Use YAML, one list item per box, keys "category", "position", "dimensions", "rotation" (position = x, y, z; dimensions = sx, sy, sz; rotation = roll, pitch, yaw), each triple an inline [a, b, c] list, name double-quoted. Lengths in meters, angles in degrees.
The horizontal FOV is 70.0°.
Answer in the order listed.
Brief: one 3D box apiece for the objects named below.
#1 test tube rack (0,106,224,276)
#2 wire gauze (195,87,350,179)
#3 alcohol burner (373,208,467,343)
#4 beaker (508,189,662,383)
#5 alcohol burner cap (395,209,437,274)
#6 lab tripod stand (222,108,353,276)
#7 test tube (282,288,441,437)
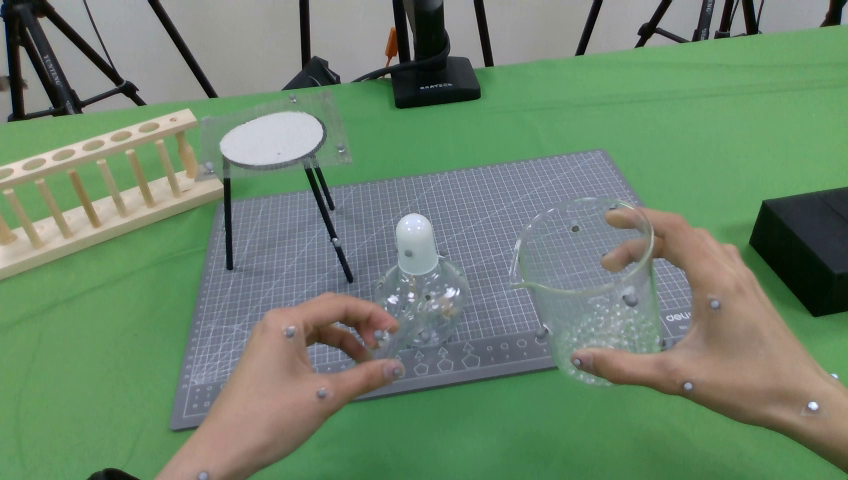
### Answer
- category: "test tube rack"
  position: [-0.349, -0.057, 0.646]
  dimensions: [0.243, 0.086, 0.066]
  rotation: [-24, 44, -21]
- category: "wire gauze"
  position: [-0.133, -0.093, 0.519]
  dimensions: [0.125, 0.011, 0.120]
  rotation: [-13, 41, -7]
- category: "alcohol burner"
  position: [-0.004, 0.025, 0.486]
  dimensions: [0.078, 0.120, 0.077]
  rotation: [-3, 38, 3]
- category: "beaker"
  position: [0.099, 0.033, 0.361]
  dimensions: [0.084, 0.101, 0.073]
  rotation: [-27, 40, -1]
- category: "alcohol burner cap"
  position: [-0.008, -0.002, 0.462]
  dimensions: [0.034, 0.048, 0.033]
  rotation: [-4, 42, 4]
- category: "lab tripod stand"
  position: [-0.127, -0.042, 0.563]
  dimensions: [0.148, 0.133, 0.147]
  rotation: [-3, 42, 3]
- category: "test tube"
  position: [-0.043, 0.082, 0.383]
  dimensions: [0.150, 0.017, 0.017]
  rotation: [-45, 35, 23]
